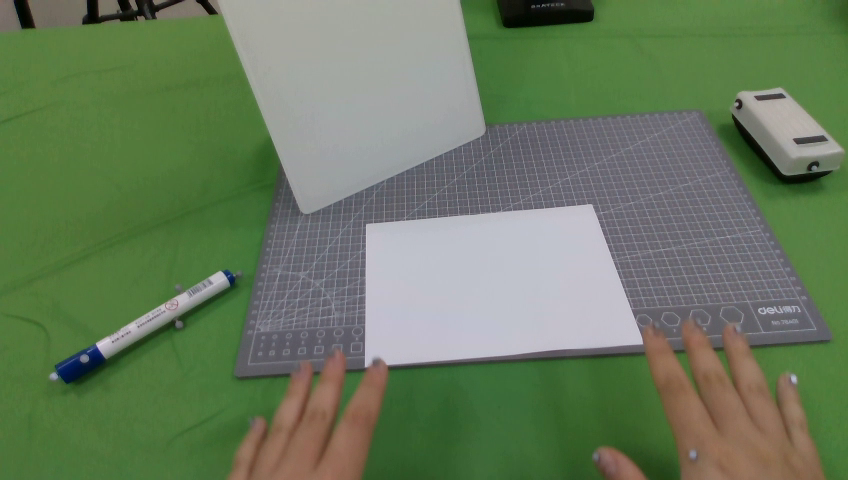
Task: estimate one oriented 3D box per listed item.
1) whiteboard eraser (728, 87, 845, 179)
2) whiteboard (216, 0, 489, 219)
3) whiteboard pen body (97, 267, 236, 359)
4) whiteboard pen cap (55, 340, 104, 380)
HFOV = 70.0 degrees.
[{"bbox_3d":[0.348,-0.104,0.590,0.055,0.042,0.111,-9,47,-2],"label":"whiteboard eraser"},{"bbox_3d":[-0.091,-0.216,0.588,0.217,0.308,0.142,-27,29,-19],"label":"whiteboard"},{"bbox_3d":[-0.216,0.062,0.487,0.141,0.017,0.017,-34,53,-26],"label":"whiteboard pen body"},{"bbox_3d":[-0.260,0.090,0.461,0.033,0.018,0.018,-34,53,-26],"label":"whiteboard pen cap"}]
